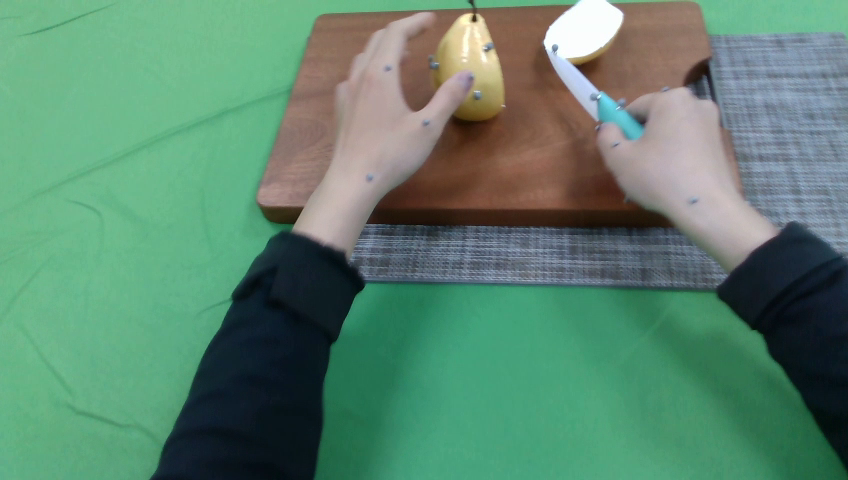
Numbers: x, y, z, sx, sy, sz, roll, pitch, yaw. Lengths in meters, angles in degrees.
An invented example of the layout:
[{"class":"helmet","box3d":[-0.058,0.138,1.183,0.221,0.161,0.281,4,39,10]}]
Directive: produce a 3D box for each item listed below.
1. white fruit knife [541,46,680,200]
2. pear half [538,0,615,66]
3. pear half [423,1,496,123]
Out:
[{"class":"white fruit knife","box3d":[0.144,-0.108,0.498,0.016,0.027,0.205,-11,48,-19]},{"class":"pear half","box3d":[0.147,-0.192,0.575,0.070,0.031,0.087,3,51,25]},{"class":"pear half","box3d":[0.026,-0.150,0.517,0.056,0.111,0.075,-25,51,-9]}]
